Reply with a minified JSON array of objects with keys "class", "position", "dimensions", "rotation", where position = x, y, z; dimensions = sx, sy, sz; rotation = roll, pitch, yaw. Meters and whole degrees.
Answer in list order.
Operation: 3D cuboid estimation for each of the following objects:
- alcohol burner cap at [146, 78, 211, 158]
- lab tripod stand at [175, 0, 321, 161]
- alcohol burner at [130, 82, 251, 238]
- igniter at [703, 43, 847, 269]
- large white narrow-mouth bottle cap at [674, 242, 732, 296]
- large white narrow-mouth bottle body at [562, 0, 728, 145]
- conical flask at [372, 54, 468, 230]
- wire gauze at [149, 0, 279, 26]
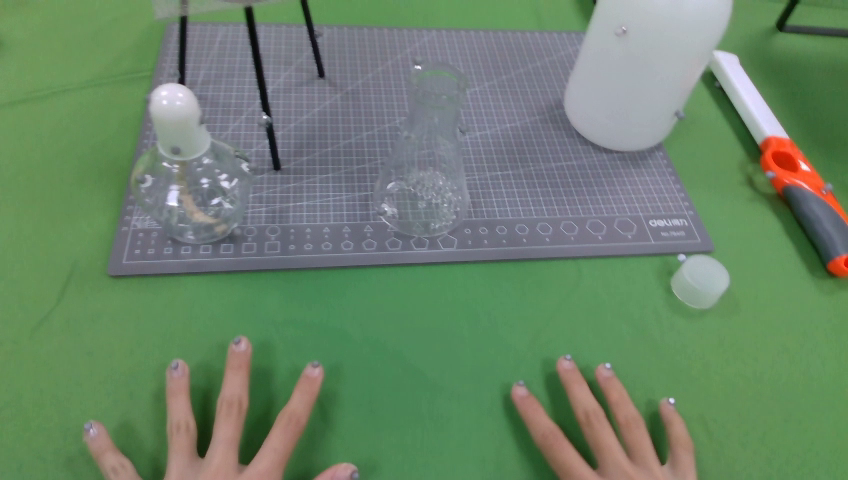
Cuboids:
[{"class":"alcohol burner cap","position":[-0.152,-0.077,0.373],"dimensions":[0.034,0.048,0.033],"rotation":[4,58,-5]},{"class":"lab tripod stand","position":[-0.134,-0.156,0.469],"dimensions":[0.149,0.132,0.147],"rotation":[5,53,-6]},{"class":"alcohol burner","position":[-0.156,-0.056,0.402],"dimensions":[0.078,0.120,0.077],"rotation":[5,51,-6]},{"class":"igniter","position":[0.319,-0.087,0.548],"dimensions":[0.057,0.025,0.273],"rotation":[6,52,-17]},{"class":"large white narrow-mouth bottle cap","position":[0.209,0.022,0.455],"dimensions":[0.038,0.024,0.037],"rotation":[3,52,-4]},{"class":"large white narrow-mouth bottle body","position":[0.183,-0.177,0.488],"dimensions":[0.102,0.196,0.101],"rotation":[3,52,-4]},{"class":"conical flask","position":[0.002,-0.069,0.428],"dimensions":[0.075,0.123,0.074],"rotation":[4,52,-4]},{"class":"wire gauze","position":[-0.131,-0.198,0.418],"dimensions":[0.122,0.011,0.124],"rotation":[-15,60,-16]}]
